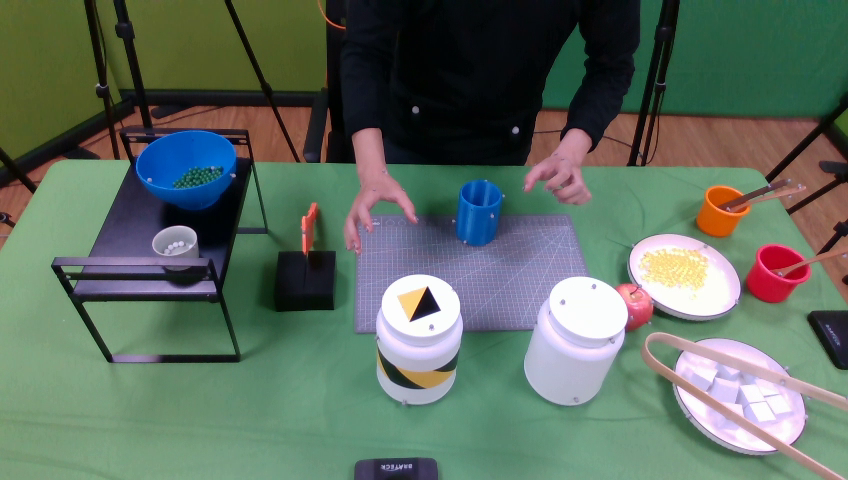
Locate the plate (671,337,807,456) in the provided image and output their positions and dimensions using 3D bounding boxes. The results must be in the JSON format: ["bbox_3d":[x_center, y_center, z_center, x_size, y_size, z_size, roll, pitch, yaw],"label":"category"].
[{"bbox_3d":[0.504,0.254,0.984,0.208,0.039,0.206,2,46,-2],"label":"plate"}]

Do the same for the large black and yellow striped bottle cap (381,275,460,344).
[{"bbox_3d":[-0.005,0.098,0.875,0.115,0.019,0.114,2,45,-2],"label":"large black and yellow striped bottle cap"}]

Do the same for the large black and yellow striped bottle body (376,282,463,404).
[{"bbox_3d":[-0.010,0.155,0.937,0.131,0.185,0.130,2,47,-2],"label":"large black and yellow striped bottle body"}]

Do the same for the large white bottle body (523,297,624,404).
[{"bbox_3d":[0.235,0.159,0.952,0.131,0.185,0.130,2,47,-2],"label":"large white bottle body"}]

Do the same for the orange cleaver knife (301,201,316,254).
[{"bbox_3d":[-0.221,-0.028,1.160,0.012,0.077,0.210,-1,15,-4],"label":"orange cleaver knife"}]

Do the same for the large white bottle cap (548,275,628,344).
[{"bbox_3d":[0.240,0.100,0.890,0.115,0.018,0.114,3,47,-3],"label":"large white bottle cap"}]

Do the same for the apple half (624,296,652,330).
[{"bbox_3d":[0.368,0.135,1.060,0.081,0.081,0.032,-11,43,-15],"label":"apple half"}]

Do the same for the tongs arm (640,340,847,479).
[{"bbox_3d":[0.500,0.277,0.919,0.386,0.028,0.028,34,59,22],"label":"tongs arm"}]

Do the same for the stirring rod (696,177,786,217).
[{"bbox_3d":[0.648,-0.087,1.244,0.176,0.006,0.014,-25,50,29],"label":"stirring rod"}]

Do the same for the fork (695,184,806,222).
[{"bbox_3d":[0.658,-0.074,1.230,0.207,0.019,0.028,-24,34,36],"label":"fork"}]

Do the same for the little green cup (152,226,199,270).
[{"bbox_3d":[-0.364,0.013,0.894,0.061,0.039,0.061,3,46,-3],"label":"little green cup"}]

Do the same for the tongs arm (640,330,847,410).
[{"bbox_3d":[0.543,0.225,0.969,0.384,0.026,0.050,22,52,13],"label":"tongs arm"}]

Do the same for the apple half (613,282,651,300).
[{"bbox_3d":[0.356,0.109,1.086,0.081,0.075,0.053,-13,44,-12],"label":"apple half"}]

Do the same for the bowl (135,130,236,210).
[{"bbox_3d":[-0.375,-0.102,0.977,0.151,0.077,0.150,2,46,-2],"label":"bowl"}]

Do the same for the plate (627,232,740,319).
[{"bbox_3d":[0.489,0.070,1.157,0.209,0.038,0.208,3,46,-3],"label":"plate"}]

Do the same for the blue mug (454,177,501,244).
[{"bbox_3d":[0.106,-0.067,1.208,0.082,0.106,0.116,5,46,1],"label":"blue mug"}]

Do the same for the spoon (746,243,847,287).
[{"bbox_3d":[0.702,0.044,1.126,0.194,0.022,0.041,-29,38,30],"label":"spoon"}]
